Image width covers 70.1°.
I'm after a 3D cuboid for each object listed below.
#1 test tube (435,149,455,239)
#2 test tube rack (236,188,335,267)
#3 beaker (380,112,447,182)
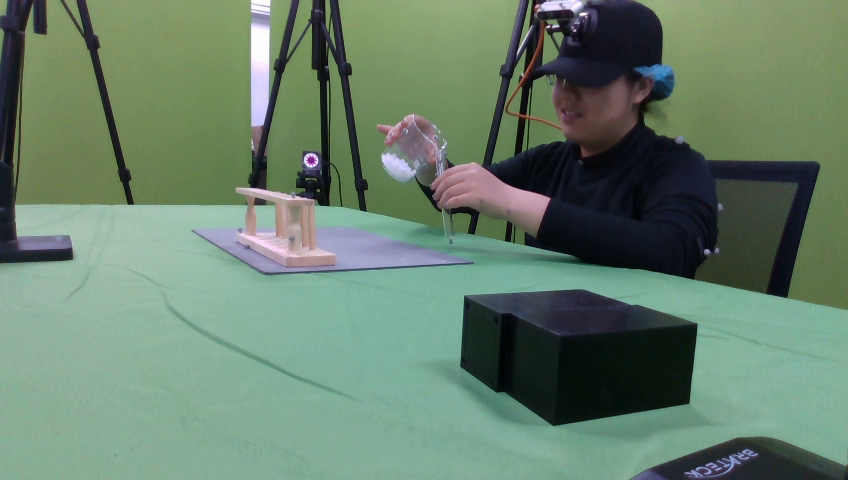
[{"bbox_3d":[0.035,-0.075,0.988,0.017,0.150,0.017,-7,-4,0],"label":"test tube"},{"bbox_3d":[-0.202,-0.024,0.855,0.067,0.085,0.241,-2,8,-31],"label":"test tube rack"},{"bbox_3d":[-0.019,-0.153,1.027,0.100,0.083,0.074,-43,-25,28],"label":"beaker"}]
